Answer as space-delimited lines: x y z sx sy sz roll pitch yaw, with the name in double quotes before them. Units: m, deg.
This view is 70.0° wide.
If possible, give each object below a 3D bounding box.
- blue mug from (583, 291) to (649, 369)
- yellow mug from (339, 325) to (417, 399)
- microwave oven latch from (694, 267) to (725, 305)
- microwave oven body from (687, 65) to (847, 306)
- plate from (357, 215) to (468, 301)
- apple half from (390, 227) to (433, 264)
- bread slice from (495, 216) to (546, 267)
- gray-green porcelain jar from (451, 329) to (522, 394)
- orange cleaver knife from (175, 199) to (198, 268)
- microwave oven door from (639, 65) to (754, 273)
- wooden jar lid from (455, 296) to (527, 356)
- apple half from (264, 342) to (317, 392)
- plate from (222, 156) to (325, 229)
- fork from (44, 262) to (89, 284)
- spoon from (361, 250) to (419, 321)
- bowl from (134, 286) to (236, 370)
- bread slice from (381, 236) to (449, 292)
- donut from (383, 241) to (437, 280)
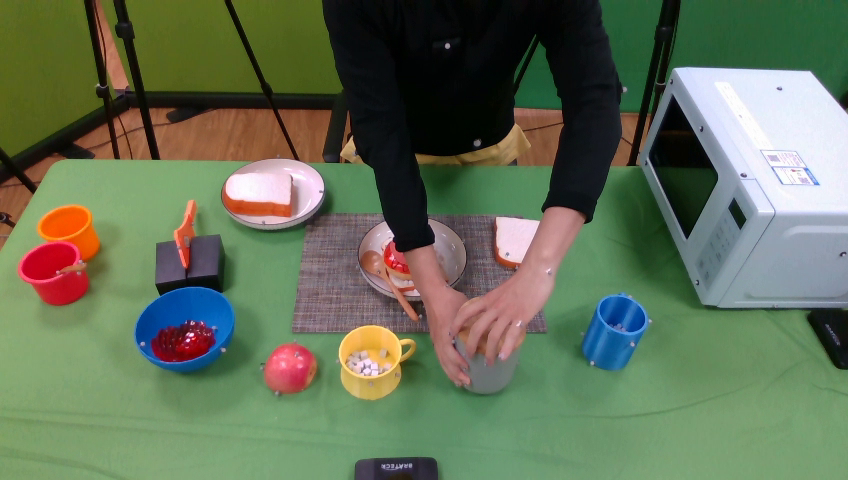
"blue mug" 0.324 0.142 1.023 0.082 0.106 0.116 15 47 11
"yellow mug" -0.072 0.190 0.978 0.131 0.064 0.099 -17 50 -20
"microwave oven latch" 0.523 0.082 1.115 0.030 0.029 0.078 3 46 0
"microwave oven body" 0.669 -0.111 1.176 0.326 0.261 0.439 0 46 -3
"plate" -0.021 0.037 1.141 0.208 0.039 0.206 2 46 -2
"apple half" -0.023 0.002 1.085 0.081 0.033 0.081 6 50 -7
"bread slice" 0.194 0.002 1.204 0.105 0.019 0.131 5 45 2
"gray-green porcelain jar" 0.098 0.175 0.963 0.106 0.127 0.105 2 47 -2
"orange cleaver knife" -0.438 -0.017 1.138 0.012 0.077 0.210 -13 27 -7
"microwave oven door" 0.522 -0.147 1.192 0.039 0.245 0.353 0 47 -3
"wooden jar lid" 0.101 0.132 0.918 0.108 0.021 0.107 3 47 -3
"apple half" -0.214 0.198 0.970 0.074 0.053 0.080 19 48 11
"plate" -0.308 -0.095 1.251 0.209 0.038 0.208 2 47 -2
"fork" -0.599 0.054 1.014 0.207 0.019 0.028 -15 29 45
"spoon" -0.060 0.079 1.077 0.041 0.022 0.192 -22 43 -19
"bowl" -0.377 0.156 0.981 0.151 0.077 0.150 2 46 -2
"bread slice" -0.027 0.039 1.140 0.107 0.018 0.133 -12 48 -15
"donut" -0.026 0.030 1.109 0.099 0.048 0.098 1 47 -1
